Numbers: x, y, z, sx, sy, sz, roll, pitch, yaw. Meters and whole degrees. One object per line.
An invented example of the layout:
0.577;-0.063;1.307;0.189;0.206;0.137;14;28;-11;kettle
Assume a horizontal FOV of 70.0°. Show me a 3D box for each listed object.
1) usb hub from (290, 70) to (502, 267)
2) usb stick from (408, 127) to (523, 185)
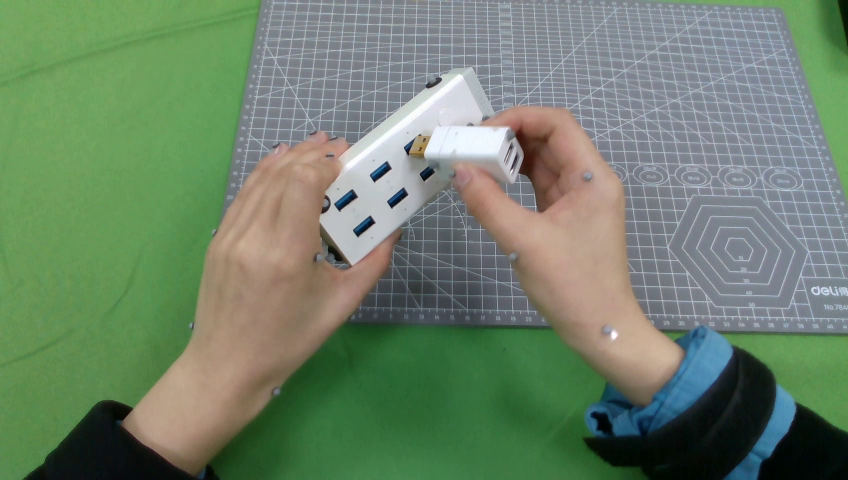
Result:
-0.012;-0.043;0.344;0.125;0.050;0.025;-41;28;-17;usb hub
0.020;-0.045;0.320;0.059;0.027;0.021;7;63;31;usb stick
